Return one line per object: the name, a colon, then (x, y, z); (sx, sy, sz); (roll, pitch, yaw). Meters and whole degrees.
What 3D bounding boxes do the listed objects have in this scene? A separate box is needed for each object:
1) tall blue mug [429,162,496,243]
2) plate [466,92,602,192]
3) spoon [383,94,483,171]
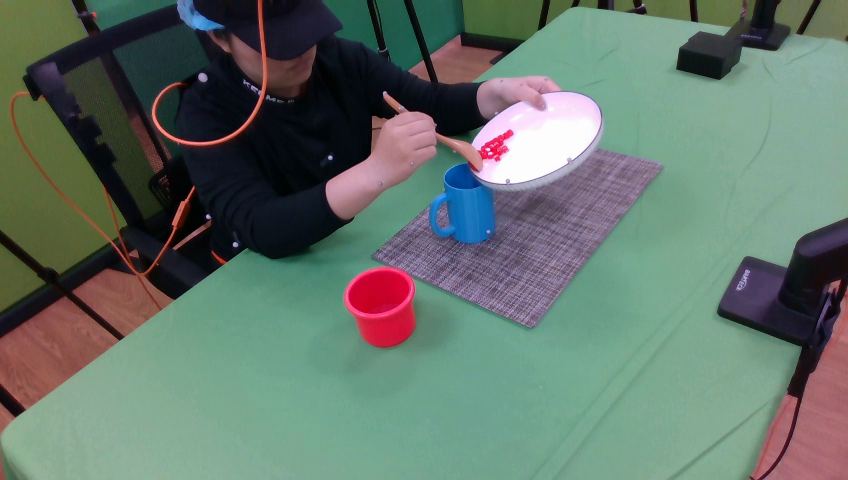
tall blue mug: (0.067, -0.051, 0.960); (0.077, 0.108, 0.107); (18, 47, 27)
plate: (0.166, -0.143, 0.911); (0.207, 0.039, 0.206); (-19, 40, 17)
spoon: (0.018, -0.157, 0.886); (0.195, 0.021, 0.041); (27, 43, -27)
